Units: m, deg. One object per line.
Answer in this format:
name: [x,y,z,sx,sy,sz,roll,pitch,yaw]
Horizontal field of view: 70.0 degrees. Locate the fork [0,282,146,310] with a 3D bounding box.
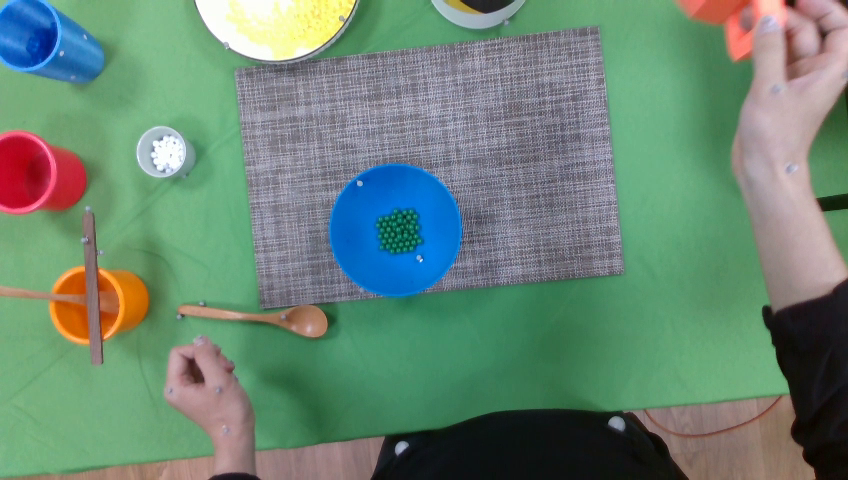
fork: [-0.430,0.059,0.696,0.209,0.018,0.028,13,94,-41]

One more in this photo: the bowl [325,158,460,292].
bowl: [-0.033,-0.017,0.708,0.151,0.077,0.151,0,91,3]

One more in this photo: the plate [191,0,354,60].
plate: [-0.180,-0.320,0.734,0.209,0.038,0.209,0,91,2]

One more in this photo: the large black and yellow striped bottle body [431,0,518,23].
large black and yellow striped bottle body: [0.057,-0.328,0.650,0.131,0.184,0.130,0,90,3]

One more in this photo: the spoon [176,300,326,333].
spoon: [-0.215,0.088,0.750,0.194,0.021,0.042,5,104,2]

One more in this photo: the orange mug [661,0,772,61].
orange mug: [0.244,-0.211,0.482,0.083,0.101,0.126,-14,88,10]

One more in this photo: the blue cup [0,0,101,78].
blue cup: [-0.440,-0.235,0.715,0.092,0.100,0.092,0,91,4]

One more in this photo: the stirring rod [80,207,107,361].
stirring rod: [-0.377,0.050,0.691,0.014,0.006,0.176,-5,91,4]

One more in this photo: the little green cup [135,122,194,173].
little green cup: [-0.316,-0.110,0.743,0.061,0.038,0.061,0,91,4]
